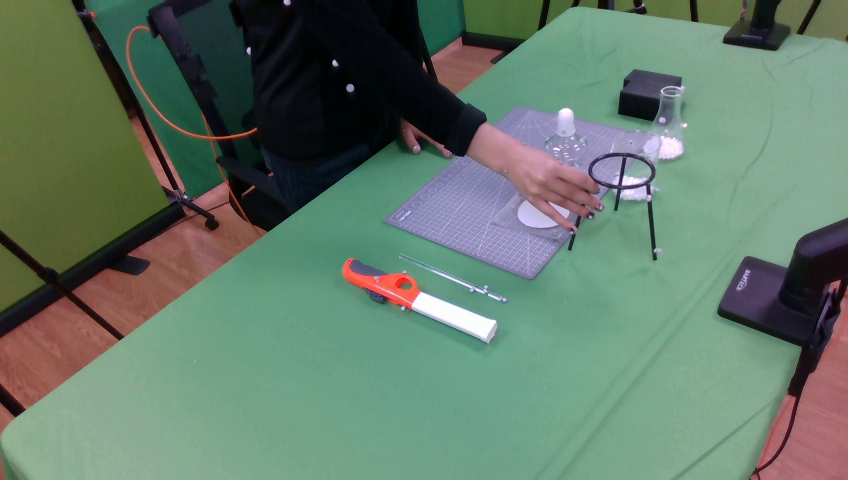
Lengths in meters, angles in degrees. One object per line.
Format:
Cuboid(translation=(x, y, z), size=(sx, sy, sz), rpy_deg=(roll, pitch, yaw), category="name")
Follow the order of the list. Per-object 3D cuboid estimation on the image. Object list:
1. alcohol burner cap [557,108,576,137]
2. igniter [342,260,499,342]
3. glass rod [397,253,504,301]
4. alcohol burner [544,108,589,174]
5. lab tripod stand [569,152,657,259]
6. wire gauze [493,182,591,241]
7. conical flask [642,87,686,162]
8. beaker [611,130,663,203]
Cuboid(translation=(0.246, -0.205, 1.047), size=(0.034, 0.048, 0.033), rpy_deg=(-8, 44, 8), category="alcohol burner cap")
Cuboid(translation=(-0.017, 0.084, 0.884), size=(0.274, 0.025, 0.057), rpy_deg=(19, 58, 31), category="igniter")
Cuboid(translation=(0.036, 0.054, 0.922), size=(0.198, 0.008, 0.008), rpy_deg=(22, 50, 31), category="glass rod")
Cuboid(translation=(0.252, -0.178, 1.071), size=(0.078, 0.120, 0.077), rpy_deg=(-7, 40, 6), category="alcohol burner")
Cuboid(translation=(0.283, -0.054, 0.886), size=(0.148, 0.132, 0.147), rpy_deg=(-6, 39, 5), category="lab tripod stand")
Cuboid(translation=(0.198, -0.048, 1.011), size=(0.120, 0.011, 0.125), rpy_deg=(20, 50, 31), category="wire gauze")
Cuboid(translation=(0.429, -0.206, 1.067), size=(0.075, 0.122, 0.075), rpy_deg=(-6, 40, 5), category="conical flask")
Cuboid(translation=(0.346, -0.118, 0.998), size=(0.084, 0.101, 0.073), rpy_deg=(-17, 40, -7), category="beaker")
